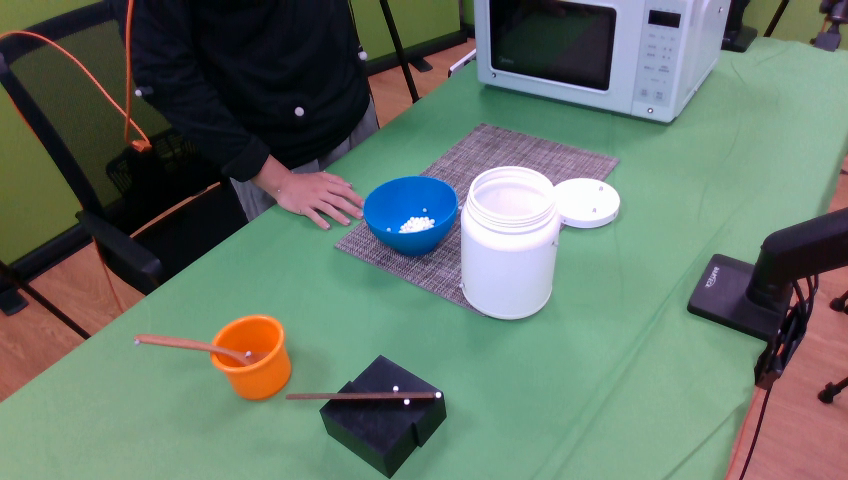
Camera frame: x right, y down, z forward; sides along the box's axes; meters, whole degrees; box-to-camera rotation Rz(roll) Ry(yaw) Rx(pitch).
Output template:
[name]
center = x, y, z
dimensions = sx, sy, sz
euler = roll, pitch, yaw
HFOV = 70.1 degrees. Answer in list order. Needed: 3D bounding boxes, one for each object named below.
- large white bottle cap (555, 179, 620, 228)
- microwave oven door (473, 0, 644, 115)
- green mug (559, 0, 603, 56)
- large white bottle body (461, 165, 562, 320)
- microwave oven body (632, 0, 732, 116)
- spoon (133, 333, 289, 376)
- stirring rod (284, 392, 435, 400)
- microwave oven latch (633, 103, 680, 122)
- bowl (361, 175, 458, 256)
[large white bottle cap]
center = 0.265, -0.062, 1.001
dimensions = 0.115, 0.018, 0.114
euler = -4, 41, 4
[microwave oven door]
center = 0.257, -0.396, 1.199
dimensions = 0.353, 0.245, 0.039
euler = 21, 48, 29
[green mug]
center = 0.333, -0.451, 1.294
dimensions = 0.092, 0.105, 0.125
euler = 10, 48, 21
[large white bottle body]
center = 0.115, 0.004, 0.815
dimensions = 0.130, 0.185, 0.130
euler = -2, 43, 2
[microwave oven body]
center = 0.377, -0.462, 1.267
dimensions = 0.438, 0.261, 0.327
euler = 21, 48, 30
[spoon]
center = -0.257, 0.137, 0.747
dimensions = 0.021, 0.195, 0.041
euler = -48, 40, 22
[stirring rod]
center = -0.075, 0.180, 0.698
dimensions = 0.176, 0.006, 0.014
euler = -2, 6, 6
[microwave oven latch]
center = 0.444, -0.249, 1.157
dimensions = 0.078, 0.029, 0.030
euler = 20, 48, 30
[bowl]
center = -0.018, -0.028, 0.955
dimensions = 0.151, 0.077, 0.150
euler = -4, 40, 4
